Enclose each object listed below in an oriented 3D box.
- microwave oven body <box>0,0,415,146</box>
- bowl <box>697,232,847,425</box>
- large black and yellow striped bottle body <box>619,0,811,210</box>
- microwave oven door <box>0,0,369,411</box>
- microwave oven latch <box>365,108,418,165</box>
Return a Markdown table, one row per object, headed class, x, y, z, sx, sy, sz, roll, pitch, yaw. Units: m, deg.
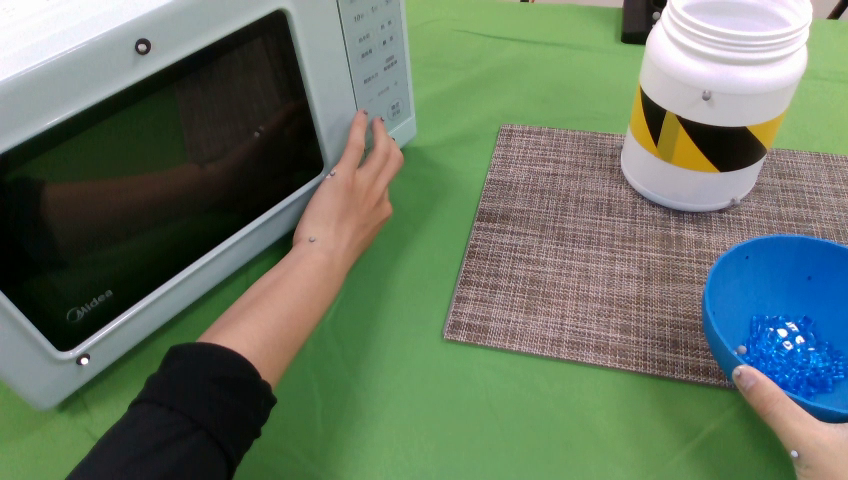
| class | x | y | z | sx | sy | sz | roll | pitch | yaw |
| --- | --- | --- | --- | --- | --- | --- | --- | --- | --- |
| microwave oven body | -0.275 | -0.142 | 0.559 | 0.323 | 0.263 | 0.441 | 32 | 58 | 28 |
| bowl | 0.270 | 0.074 | 0.439 | 0.151 | 0.077 | 0.150 | -3 | 48 | 3 |
| large black and yellow striped bottle body | 0.260 | -0.133 | 0.555 | 0.131 | 0.186 | 0.129 | -2 | 48 | 3 |
| microwave oven door | -0.194 | -0.055 | 0.466 | 0.039 | 0.246 | 0.355 | 31 | 57 | 29 |
| microwave oven latch | -0.041 | -0.114 | 0.644 | 0.030 | 0.030 | 0.079 | 34 | 59 | 30 |
